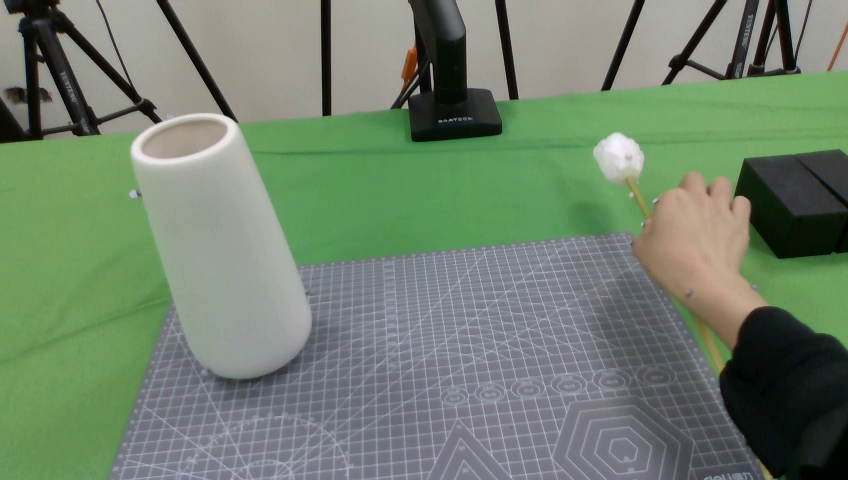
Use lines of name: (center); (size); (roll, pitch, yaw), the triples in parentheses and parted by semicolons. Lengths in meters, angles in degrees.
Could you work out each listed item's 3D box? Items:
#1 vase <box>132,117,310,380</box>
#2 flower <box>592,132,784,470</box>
vase: (-0.147, 0.013, 0.456); (0.098, 0.202, 0.097); (-2, 37, 2)
flower: (0.206, 0.019, 0.502); (0.044, 0.038, 0.358); (-4, 43, -1)
